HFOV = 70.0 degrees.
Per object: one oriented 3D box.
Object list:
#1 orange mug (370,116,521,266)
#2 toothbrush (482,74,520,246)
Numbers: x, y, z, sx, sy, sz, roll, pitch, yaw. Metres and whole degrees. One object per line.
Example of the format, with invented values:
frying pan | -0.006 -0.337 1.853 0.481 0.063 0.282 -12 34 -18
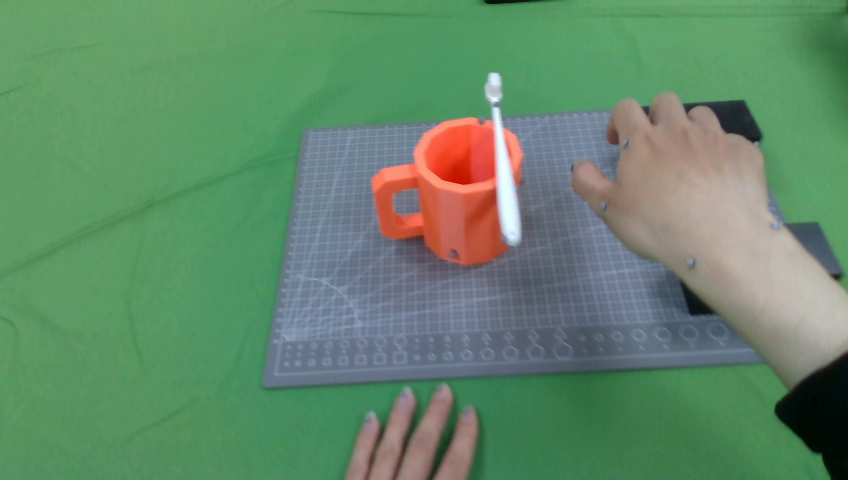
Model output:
orange mug | 0.019 -0.038 0.516 0.126 0.102 0.082 -7 52 -7
toothbrush | 0.059 -0.069 0.470 0.014 0.017 0.180 4 52 -7
